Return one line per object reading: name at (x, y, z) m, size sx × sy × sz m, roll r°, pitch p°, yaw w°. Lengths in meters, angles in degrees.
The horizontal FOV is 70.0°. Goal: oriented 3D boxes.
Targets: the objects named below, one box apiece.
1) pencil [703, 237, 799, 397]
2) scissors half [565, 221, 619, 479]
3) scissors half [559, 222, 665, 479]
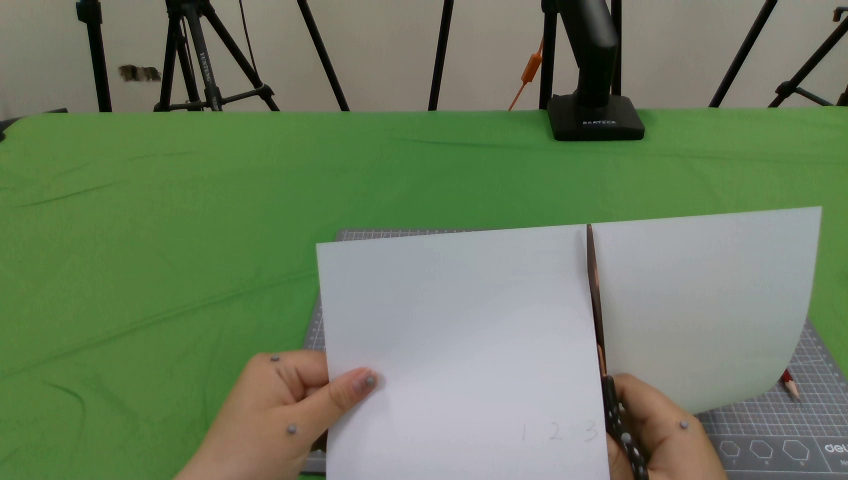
pencil at (0.289, 0.061, 0.544) m, size 0.012 × 0.012 × 0.192 m, roll -2°, pitch 40°, yaw 0°
scissors half at (0.097, 0.074, 0.359) m, size 0.013 × 0.175 × 0.040 m, roll -13°, pitch 11°, yaw -16°
scissors half at (0.102, 0.072, 0.338) m, size 0.013 × 0.040 × 0.174 m, roll -13°, pitch 78°, yaw -11°
